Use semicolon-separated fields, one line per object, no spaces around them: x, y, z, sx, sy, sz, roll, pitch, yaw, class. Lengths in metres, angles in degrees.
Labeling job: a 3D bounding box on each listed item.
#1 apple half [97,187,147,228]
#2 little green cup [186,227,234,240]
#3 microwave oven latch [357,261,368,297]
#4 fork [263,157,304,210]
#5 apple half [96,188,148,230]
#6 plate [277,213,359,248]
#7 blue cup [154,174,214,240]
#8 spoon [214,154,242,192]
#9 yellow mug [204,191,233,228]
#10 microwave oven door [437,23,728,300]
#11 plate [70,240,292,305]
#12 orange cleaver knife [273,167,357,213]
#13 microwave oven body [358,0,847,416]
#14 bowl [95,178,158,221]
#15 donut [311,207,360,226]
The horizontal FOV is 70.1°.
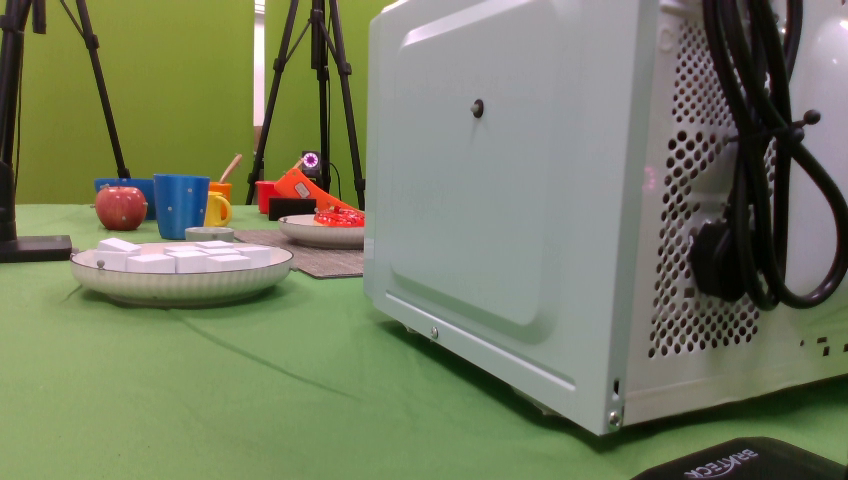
-0.534;-0.059;1.071;0.082;0.081;0.032;-1;11;-25;apple half
-0.285;0.005;0.805;0.061;0.038;0.061;2;8;0;little green cup
-0.019;0.033;0.530;0.079;0.029;0.030;-1;7;-26;microwave oven latch
-0.345;-0.143;1.506;0.028;0.019;0.207;-4;46;29;fork
-0.517;-0.052;1.036;0.081;0.074;0.053;2;10;-26;apple half
-0.135;-0.017;0.992;0.209;0.038;0.209;2;8;0;plate
-0.391;-0.053;0.978;0.093;0.100;0.092;3;6;0;blue cup
-0.439;-0.124;1.318;0.041;0.193;0.022;5;-36;16;spoon
-0.415;-0.057;1.131;0.130;0.064;0.100;6;8;16;yellow mug
0.181;-0.072;0.621;0.358;0.243;0.039;-2;9;-29;microwave oven door
-0.242;0.031;0.618;0.208;0.039;0.207;2;8;0;plate
-0.238;-0.091;1.381;0.212;0.077;0.012;31;0;-19;orange cleaver knife
0.211;-0.047;0.474;0.444;0.260;0.324;-1;7;-28;microwave oven body
-0.576;-0.081;1.217;0.151;0.077;0.151;3;8;0;bowl
-0.137;-0.029;0.995;0.099;0.048;0.099;4;9;0;donut
